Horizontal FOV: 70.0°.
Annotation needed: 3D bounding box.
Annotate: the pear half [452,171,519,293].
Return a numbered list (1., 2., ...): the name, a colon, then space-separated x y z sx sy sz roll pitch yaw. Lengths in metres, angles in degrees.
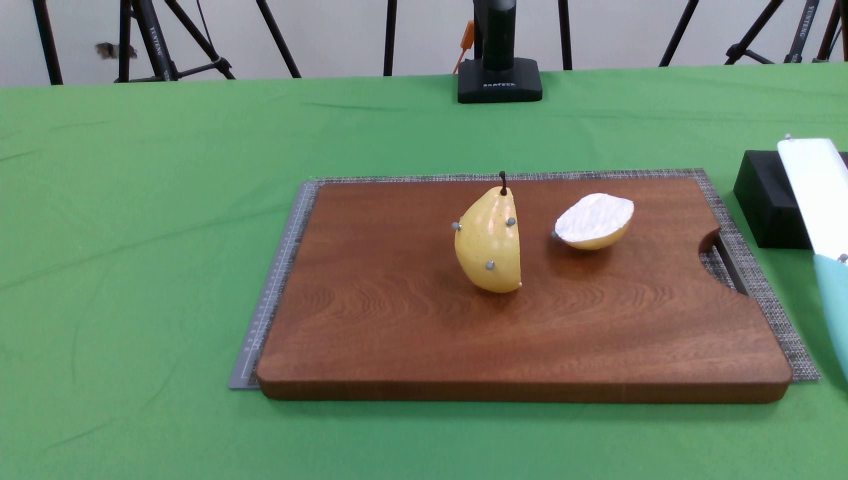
1. pear half: 0.051 -0.009 0.500 0.056 0.111 0.075 -7 35 -3

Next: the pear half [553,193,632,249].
1. pear half: 0.156 -0.014 0.557 0.070 0.031 0.087 -7 23 20

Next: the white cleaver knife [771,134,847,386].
1. white cleaver knife: 0.361 0.004 0.522 0.066 0.022 0.284 2 54 10
